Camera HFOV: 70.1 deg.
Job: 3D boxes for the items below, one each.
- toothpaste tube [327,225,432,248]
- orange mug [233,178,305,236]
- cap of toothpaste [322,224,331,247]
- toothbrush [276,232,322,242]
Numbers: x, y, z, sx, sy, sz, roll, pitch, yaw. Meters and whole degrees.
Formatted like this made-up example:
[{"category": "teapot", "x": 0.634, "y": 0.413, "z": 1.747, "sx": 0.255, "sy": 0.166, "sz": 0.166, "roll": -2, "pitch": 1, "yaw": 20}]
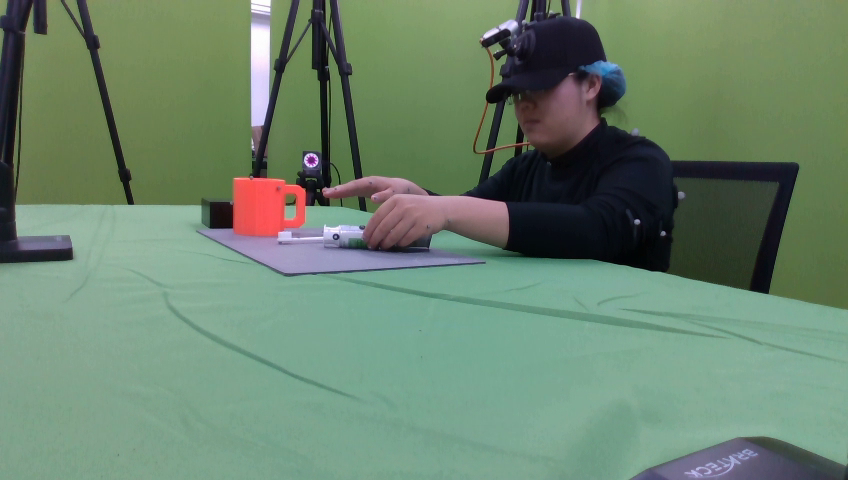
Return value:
[{"category": "toothpaste tube", "x": -0.071, "y": -0.005, "z": 0.937, "sx": 0.165, "sy": 0.034, "sz": 0.055, "roll": 2, "pitch": -22, "yaw": -7}, {"category": "orange mug", "x": -0.273, "y": -0.061, "z": 1.067, "sx": 0.127, "sy": 0.101, "sz": 0.083, "roll": -5, "pitch": 10, "yaw": -24}, {"category": "cap of toothpaste", "x": -0.149, "y": -0.007, "z": 0.930, "sx": 0.011, "sy": 0.037, "sz": 0.037, "roll": 2, "pitch": 7, "yaw": -5}, {"category": "toothbrush", "x": -0.153, "y": -0.005, "z": 0.991, "sx": 0.183, "sy": 0.016, "sz": 0.014, "roll": 0, "pitch": -5, "yaw": -34}]
